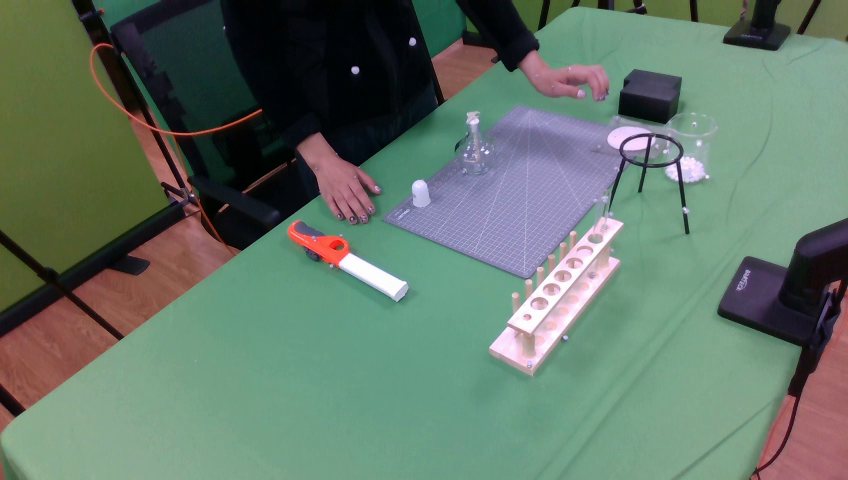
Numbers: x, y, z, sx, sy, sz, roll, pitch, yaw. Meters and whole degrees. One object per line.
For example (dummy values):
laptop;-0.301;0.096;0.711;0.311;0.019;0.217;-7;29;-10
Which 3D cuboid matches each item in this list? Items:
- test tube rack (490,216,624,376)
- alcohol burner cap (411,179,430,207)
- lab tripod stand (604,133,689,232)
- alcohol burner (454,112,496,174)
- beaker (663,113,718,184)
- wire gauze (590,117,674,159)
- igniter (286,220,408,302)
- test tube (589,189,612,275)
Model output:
test tube rack;0.184;0.064;0.822;0.066;0.085;0.243;24;50;33
alcohol burner cap;-0.008;-0.085;1.063;0.034;0.048;0.033;-4;40;4
lab tripod stand;0.347;-0.086;0.932;0.148;0.132;0.147;-4;40;4
alcohol burner;0.092;-0.181;1.102;0.078;0.119;0.077;-5;42;5
beaker;0.442;-0.151;1.018;0.084;0.101;0.074;-1;40;11
wire gauze;0.393;-0.192;1.139;0.120;0.011;0.125;19;47;28
igniter;-0.133;0.028;0.969;0.274;0.025;0.057;27;59;35
test tube;0.238;-0.007;0.818;0.017;0.151;0.017;-3;43;4
